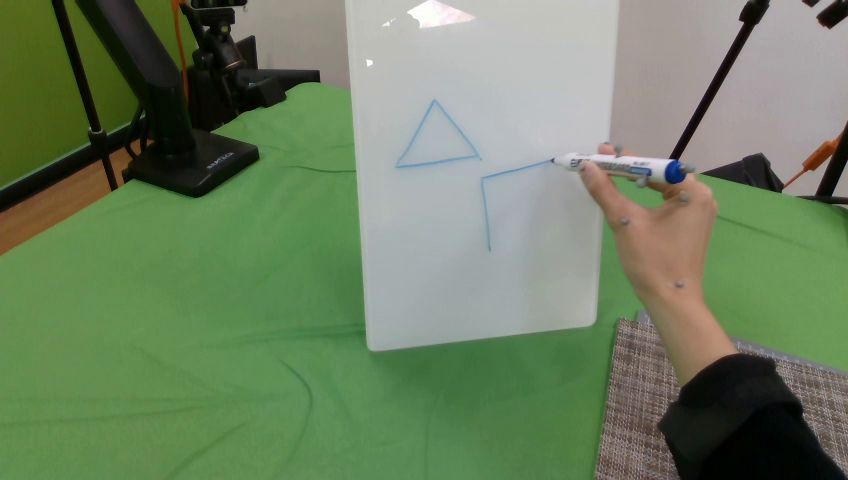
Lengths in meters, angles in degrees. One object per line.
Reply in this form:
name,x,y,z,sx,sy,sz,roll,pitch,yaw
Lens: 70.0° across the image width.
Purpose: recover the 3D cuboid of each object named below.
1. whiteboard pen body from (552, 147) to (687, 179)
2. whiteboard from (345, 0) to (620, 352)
whiteboard pen body,0.135,-0.058,0.445,0.017,0.017,0.139,-13,16,-21
whiteboard,0.040,-0.078,0.561,0.218,0.307,0.142,-5,19,-10
